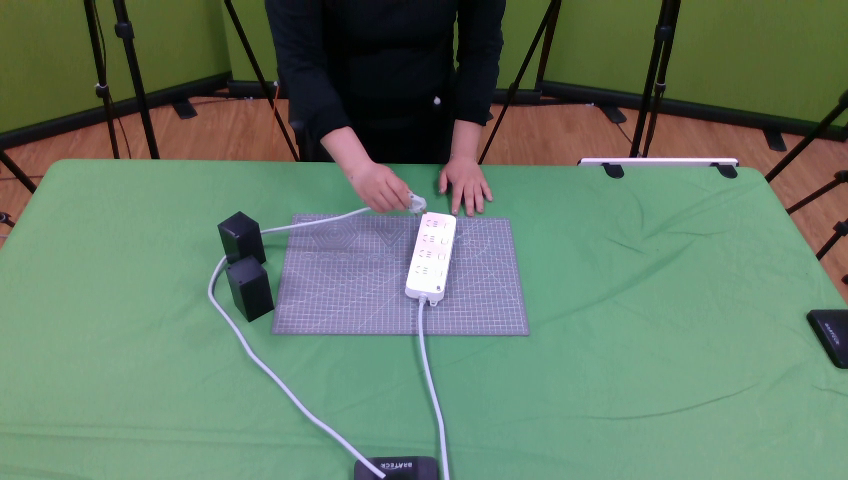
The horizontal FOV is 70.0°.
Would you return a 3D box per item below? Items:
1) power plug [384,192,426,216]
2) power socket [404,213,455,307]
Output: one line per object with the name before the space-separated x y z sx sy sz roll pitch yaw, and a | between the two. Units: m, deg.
power plug | -0.029 -0.067 1.130 0.072 0.053 0.035 5 50 34
power socket | 0.014 0.029 1.159 0.072 0.033 0.225 8 46 5
